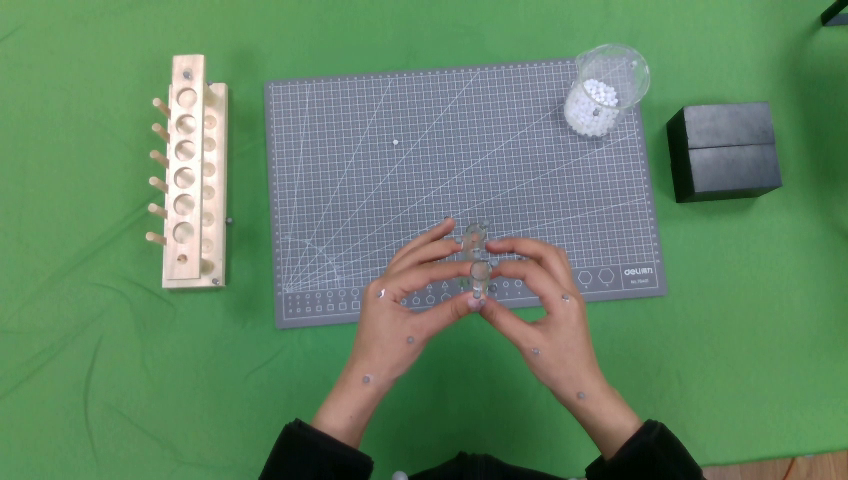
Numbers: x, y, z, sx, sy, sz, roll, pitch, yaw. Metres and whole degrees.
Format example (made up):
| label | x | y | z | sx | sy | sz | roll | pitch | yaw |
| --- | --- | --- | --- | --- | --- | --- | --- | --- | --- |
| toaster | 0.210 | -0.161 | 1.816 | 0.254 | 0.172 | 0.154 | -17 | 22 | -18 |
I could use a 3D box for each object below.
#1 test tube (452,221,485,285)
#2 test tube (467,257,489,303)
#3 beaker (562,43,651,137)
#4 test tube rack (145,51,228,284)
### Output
| label | x | y | z | sx | sy | sz | roll | pitch | yaw |
| --- | --- | --- | --- | --- | --- | --- | --- | --- | --- |
| test tube | 0.035 | 0.015 | 0.510 | 0.017 | 0.151 | 0.017 | 0 | 73 | -1 |
| test tube | 0.044 | 0.036 | 0.498 | 0.017 | 0.151 | 0.017 | -1 | 77 | 4 |
| beaker | 0.198 | -0.166 | 0.685 | 0.084 | 0.100 | 0.074 | 32 | 81 | 6 |
| test tube rack | -0.265 | -0.076 | 0.671 | 0.067 | 0.085 | 0.241 | -2 | 81 | -1 |
